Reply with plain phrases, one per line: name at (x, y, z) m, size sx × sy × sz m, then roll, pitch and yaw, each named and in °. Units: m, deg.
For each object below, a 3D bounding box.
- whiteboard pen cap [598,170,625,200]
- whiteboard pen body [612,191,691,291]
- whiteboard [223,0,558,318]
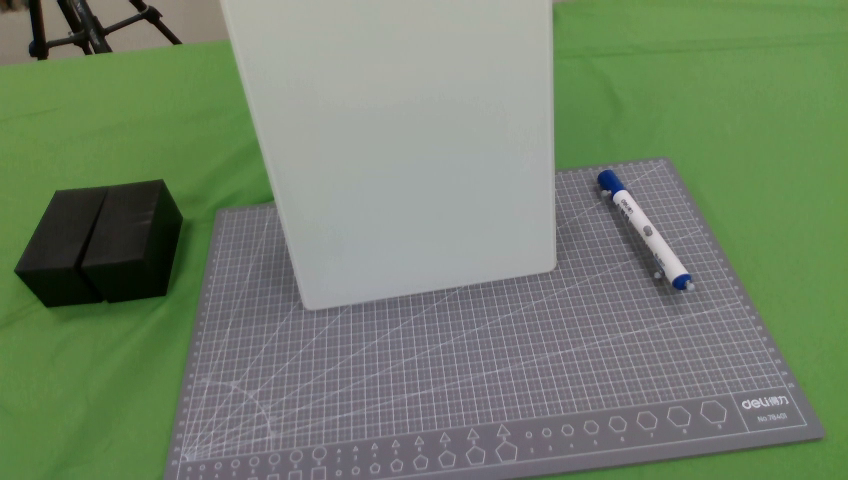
whiteboard pen cap at (0.177, -0.049, 0.569) m, size 0.018 × 0.018 × 0.033 m, roll -11°, pitch 46°, yaw -6°
whiteboard pen body at (0.190, -0.010, 0.527) m, size 0.017 × 0.017 × 0.139 m, roll -12°, pitch 45°, yaw -6°
whiteboard at (-0.017, -0.116, 0.494) m, size 0.217 × 0.308 × 0.142 m, roll -8°, pitch 28°, yaw -2°
